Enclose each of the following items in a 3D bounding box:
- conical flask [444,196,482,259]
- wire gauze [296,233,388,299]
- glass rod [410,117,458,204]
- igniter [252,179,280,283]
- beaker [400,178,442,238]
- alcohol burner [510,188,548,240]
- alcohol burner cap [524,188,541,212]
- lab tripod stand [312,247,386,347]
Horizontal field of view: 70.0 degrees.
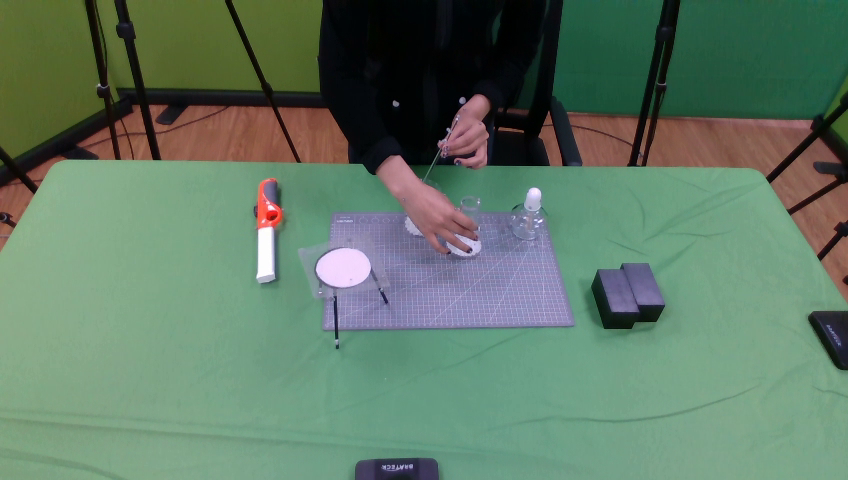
[{"bbox_3d":[0.080,-0.028,1.160,0.075,0.122,0.075,2,46,-2],"label":"conical flask"},{"bbox_3d":[-0.133,0.041,0.977,0.125,0.011,0.120,-12,47,-16],"label":"wire gauze"},{"bbox_3d":[0.016,-0.146,1.135,0.008,0.200,0.008,21,33,-14],"label":"glass rod"},{"bbox_3d":[-0.312,-0.027,1.197,0.057,0.025,0.274,-12,47,-1],"label":"igniter"},{"bbox_3d":[-0.009,-0.059,1.200,0.084,0.101,0.073,-15,48,-17],"label":"beaker"},{"bbox_3d":[0.211,-0.057,1.204,0.078,0.120,0.077,1,47,-1],"label":"alcohol burner"},{"bbox_3d":[0.212,-0.081,1.177,0.034,0.048,0.033,-2,54,3],"label":"alcohol burner cap"},{"bbox_3d":[-0.134,0.085,1.028,0.148,0.132,0.147,2,45,-1],"label":"lab tripod stand"}]
